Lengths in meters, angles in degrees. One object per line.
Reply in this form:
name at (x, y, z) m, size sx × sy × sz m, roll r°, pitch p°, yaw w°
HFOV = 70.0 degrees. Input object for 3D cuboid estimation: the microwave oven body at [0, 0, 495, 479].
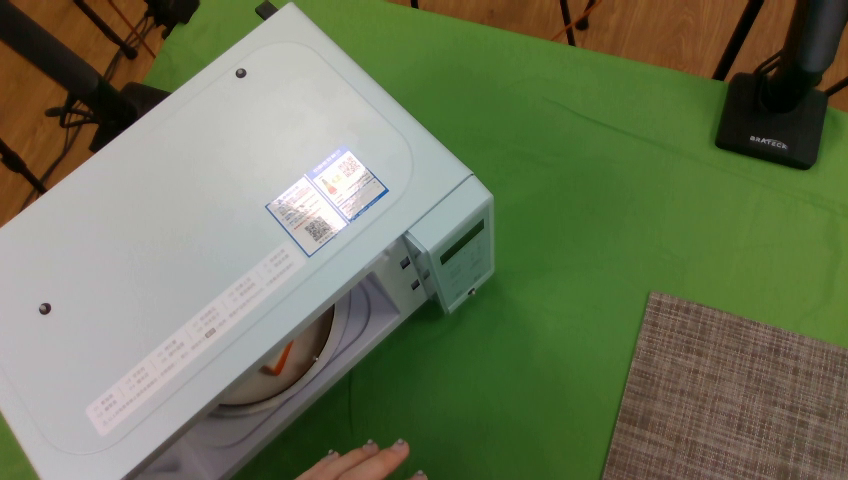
microwave oven body at (-0.190, 0.028, 0.657) m, size 0.441 × 0.262 × 0.324 m, roll -42°, pitch 72°, yaw -8°

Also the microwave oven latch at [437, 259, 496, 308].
microwave oven latch at (0.051, 0.044, 0.727) m, size 0.079 × 0.030 × 0.030 m, roll -40°, pitch 72°, yaw -7°
